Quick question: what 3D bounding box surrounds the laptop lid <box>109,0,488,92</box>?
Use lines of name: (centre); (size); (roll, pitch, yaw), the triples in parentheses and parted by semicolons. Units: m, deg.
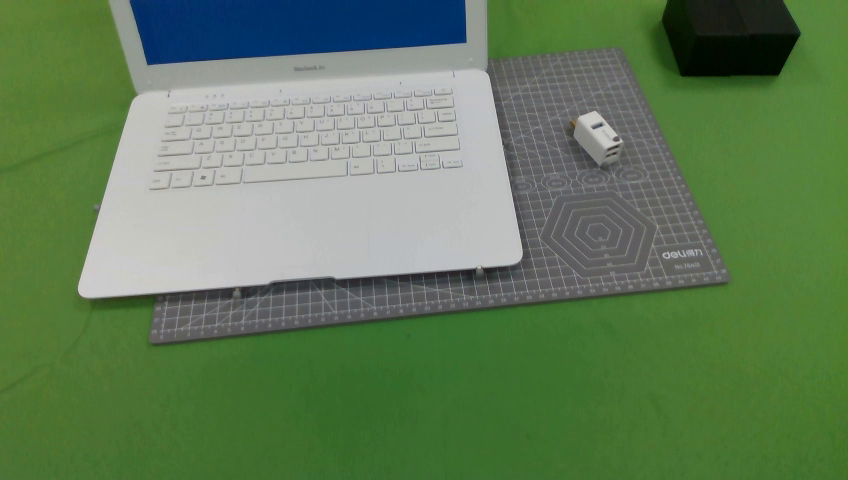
laptop lid: (-0.119, -0.258, 0.554); (0.357, 0.243, 0.013); (-6, 29, 0)

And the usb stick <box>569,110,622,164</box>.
usb stick: (0.154, -0.099, 0.555); (0.021, 0.027, 0.058); (-22, 54, -12)

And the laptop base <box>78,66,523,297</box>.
laptop base: (-0.104, -0.061, 0.543); (0.354, 0.023, 0.233); (-5, 57, -1)
